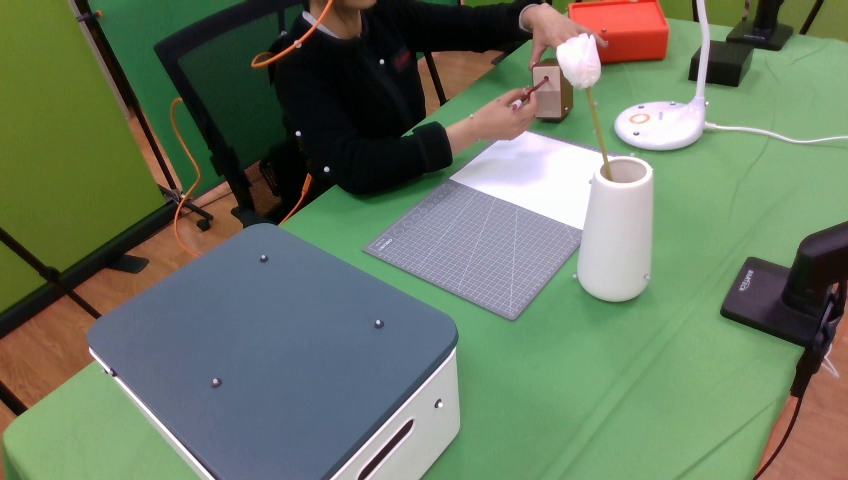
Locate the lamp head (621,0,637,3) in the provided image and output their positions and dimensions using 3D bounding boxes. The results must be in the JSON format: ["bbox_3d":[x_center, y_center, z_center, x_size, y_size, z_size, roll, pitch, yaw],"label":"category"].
[{"bbox_3d":[0.319,-0.453,0.962,0.113,0.123,0.112,20,33,-13],"label":"lamp head"}]

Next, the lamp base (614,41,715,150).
[{"bbox_3d":[0.449,-0.277,1.106,0.179,0.181,0.160,1,41,9],"label":"lamp base"}]

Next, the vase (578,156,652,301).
[{"bbox_3d":[0.261,-0.011,0.812,0.098,0.201,0.097,-4,40,4],"label":"vase"}]

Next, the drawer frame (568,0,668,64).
[{"bbox_3d":[0.450,-0.496,1.441,0.213,0.083,0.201,-1,40,9],"label":"drawer frame"}]

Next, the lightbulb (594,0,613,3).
[{"bbox_3d":[0.305,-0.437,0.977,0.060,0.107,0.059,12,44,-11],"label":"lightbulb"}]

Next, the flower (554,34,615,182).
[{"bbox_3d":[0.237,-0.083,0.774,0.044,0.363,0.038,-23,26,6],"label":"flower"}]

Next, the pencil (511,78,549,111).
[{"bbox_3d":[0.206,-0.279,1.134,0.012,0.012,0.194,15,37,27],"label":"pencil"}]

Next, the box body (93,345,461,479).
[{"bbox_3d":[-0.162,0.170,0.708,0.361,0.161,0.255,25,50,34],"label":"box body"}]

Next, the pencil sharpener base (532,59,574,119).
[{"bbox_3d":[0.263,-0.306,1.223,0.061,0.107,0.077,7,30,30],"label":"pencil sharpener base"}]

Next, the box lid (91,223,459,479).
[{"bbox_3d":[-0.174,0.102,0.666,0.368,0.015,0.264,24,48,35],"label":"box lid"}]

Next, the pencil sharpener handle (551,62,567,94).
[{"bbox_3d":[0.285,-0.339,1.257,0.036,0.068,0.031,12,32,27],"label":"pencil sharpener handle"}]

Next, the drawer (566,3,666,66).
[{"bbox_3d":[0.447,-0.493,1.440,0.211,0.073,0.194,0,40,10],"label":"drawer"}]
